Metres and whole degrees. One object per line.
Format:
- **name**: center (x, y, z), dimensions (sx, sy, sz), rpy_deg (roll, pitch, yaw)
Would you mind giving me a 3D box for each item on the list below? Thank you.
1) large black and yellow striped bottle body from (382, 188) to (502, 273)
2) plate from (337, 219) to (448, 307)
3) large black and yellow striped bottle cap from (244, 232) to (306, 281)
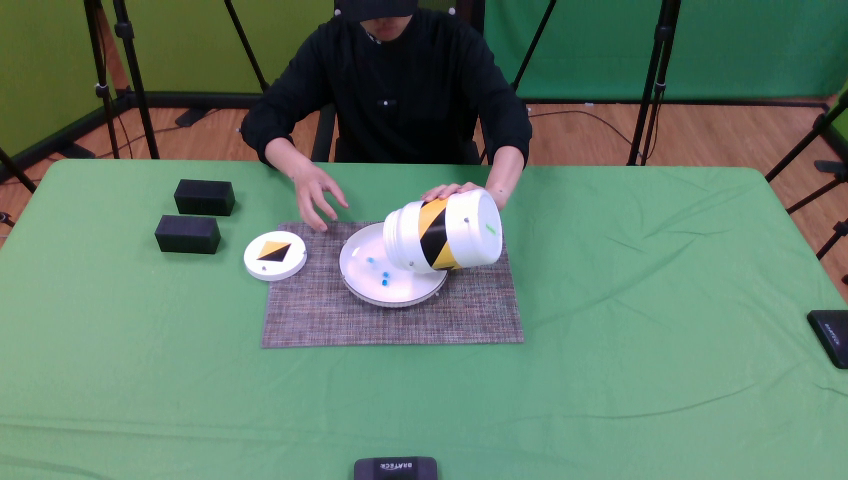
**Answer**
- **large black and yellow striped bottle body**: center (0.031, -0.011, 1.061), dimensions (0.183, 0.131, 0.130), rpy_deg (-9, 40, 26)
- **plate**: center (-0.057, 0.045, 1.133), dimensions (0.208, 0.039, 0.206), rpy_deg (2, 46, -2)
- **large black and yellow striped bottle cap**: center (-0.282, 0.030, 1.146), dimensions (0.115, 0.019, 0.114), rpy_deg (-1, 45, 1)
